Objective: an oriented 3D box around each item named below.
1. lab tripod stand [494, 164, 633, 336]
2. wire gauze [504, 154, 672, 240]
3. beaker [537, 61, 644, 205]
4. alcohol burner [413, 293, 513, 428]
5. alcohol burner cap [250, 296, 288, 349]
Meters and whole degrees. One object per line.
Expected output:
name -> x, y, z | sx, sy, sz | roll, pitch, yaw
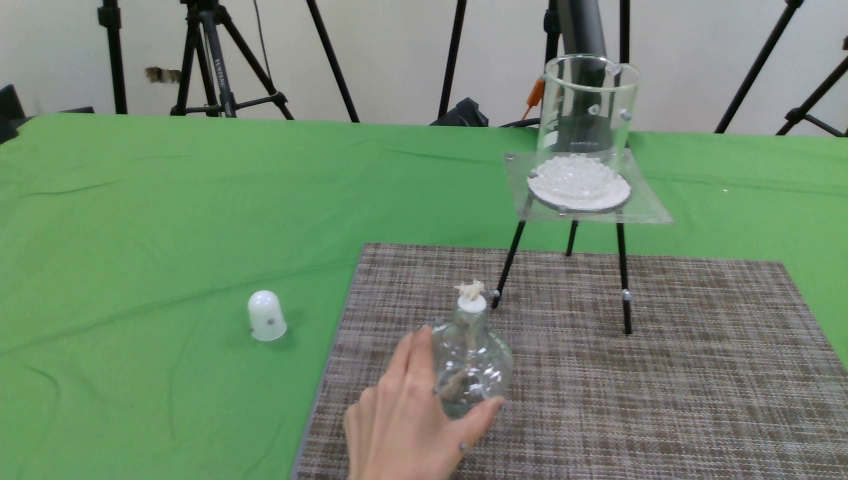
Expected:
lab tripod stand -> 0.141, 0.008, 0.565 | 0.148, 0.132, 0.147 | 1, 35, 0
wire gauze -> 0.136, -0.043, 0.523 | 0.125, 0.011, 0.120 | 3, 37, -2
beaker -> 0.135, -0.088, 0.502 | 0.073, 0.101, 0.084 | 26, 43, 30
alcohol burner -> 0.031, 0.085, 0.455 | 0.078, 0.120, 0.077 | 4, 37, -2
alcohol burner cap -> -0.147, 0.075, 0.565 | 0.034, 0.048, 0.033 | 0, 36, 1
